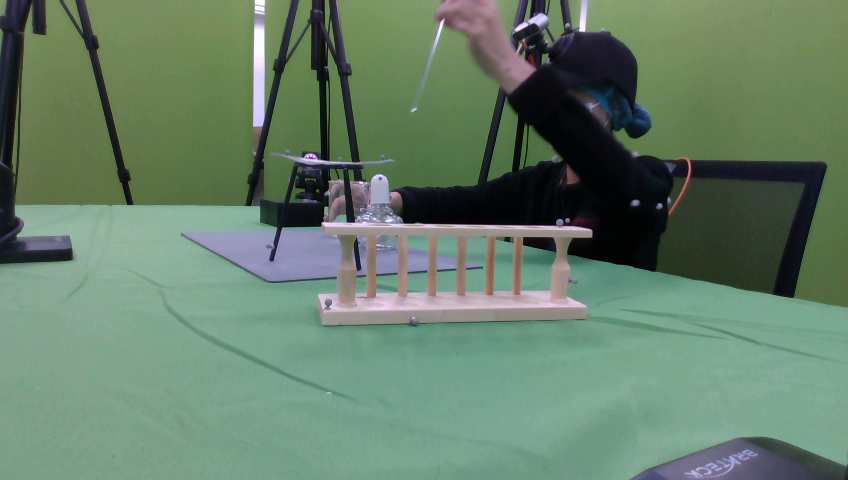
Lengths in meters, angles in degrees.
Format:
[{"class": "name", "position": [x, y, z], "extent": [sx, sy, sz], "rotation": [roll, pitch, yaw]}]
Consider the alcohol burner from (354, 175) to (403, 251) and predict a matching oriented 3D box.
[{"class": "alcohol burner", "position": [-0.072, -0.042, 0.944], "extent": [0.078, 0.119, 0.078], "rotation": [1, 9, 0]}]

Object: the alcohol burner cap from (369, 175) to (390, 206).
[{"class": "alcohol burner cap", "position": [-0.069, -0.077, 0.939], "extent": [0.034, 0.048, 0.034], "rotation": [-1, 6, 0]}]

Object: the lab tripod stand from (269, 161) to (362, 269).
[{"class": "lab tripod stand", "position": [-0.125, -0.036, 0.794], "extent": [0.148, 0.131, 0.148], "rotation": [5, 7, 0]}]

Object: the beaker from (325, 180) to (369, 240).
[{"class": "beaker", "position": [-0.133, -0.052, 1.058], "extent": [0.074, 0.100, 0.083], "rotation": [-3, 10, -36]}]

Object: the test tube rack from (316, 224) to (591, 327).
[{"class": "test tube rack", "position": [0.026, 0.028, 0.555], "extent": [0.243, 0.085, 0.066], "rotation": [1, 7, -15]}]

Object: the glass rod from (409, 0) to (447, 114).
[{"class": "glass rod", "position": [0.009, -0.270, 0.841], "extent": [0.008, 0.199, 0.008], "rotation": [17, 0, 0]}]

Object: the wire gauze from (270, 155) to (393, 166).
[{"class": "wire gauze", "position": [-0.122, -0.102, 0.785], "extent": [0.122, 0.011, 0.124], "rotation": [-3, 10, -39]}]
